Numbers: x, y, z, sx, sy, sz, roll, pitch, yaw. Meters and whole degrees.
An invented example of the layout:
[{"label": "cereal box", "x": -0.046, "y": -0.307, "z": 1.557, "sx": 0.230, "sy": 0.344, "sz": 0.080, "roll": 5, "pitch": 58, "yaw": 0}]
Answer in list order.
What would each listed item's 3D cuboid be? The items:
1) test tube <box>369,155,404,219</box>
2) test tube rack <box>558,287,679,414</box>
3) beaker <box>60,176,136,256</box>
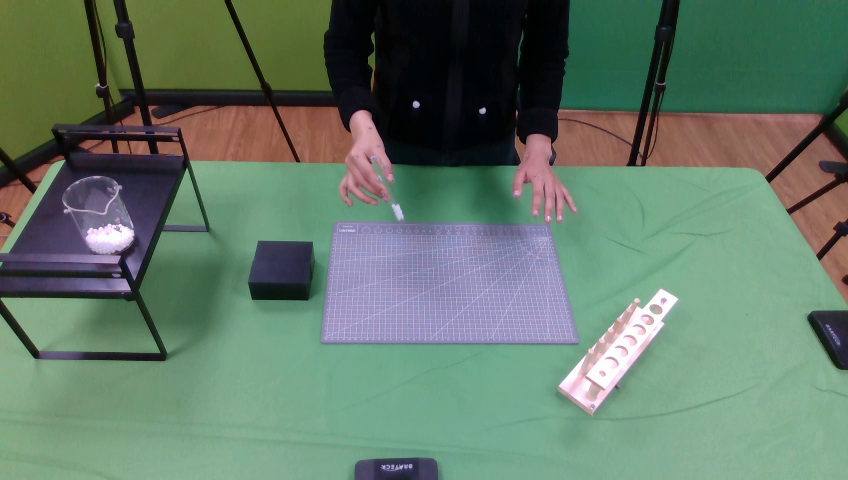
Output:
[{"label": "test tube", "x": -0.062, "y": -0.088, "z": 1.043, "sx": 0.017, "sy": 0.151, "sz": 0.017, "roll": -10, "pitch": 48, "yaw": 12}, {"label": "test tube rack", "x": 0.326, "y": 0.170, "z": 1.009, "sx": 0.066, "sy": 0.085, "sz": 0.242, "roll": 35, "pitch": 54, "yaw": 26}, {"label": "beaker", "x": -0.470, "y": -0.031, "z": 0.887, "sx": 0.074, "sy": 0.101, "sz": 0.083, "roll": -31, "pitch": 56, "yaw": -28}]
